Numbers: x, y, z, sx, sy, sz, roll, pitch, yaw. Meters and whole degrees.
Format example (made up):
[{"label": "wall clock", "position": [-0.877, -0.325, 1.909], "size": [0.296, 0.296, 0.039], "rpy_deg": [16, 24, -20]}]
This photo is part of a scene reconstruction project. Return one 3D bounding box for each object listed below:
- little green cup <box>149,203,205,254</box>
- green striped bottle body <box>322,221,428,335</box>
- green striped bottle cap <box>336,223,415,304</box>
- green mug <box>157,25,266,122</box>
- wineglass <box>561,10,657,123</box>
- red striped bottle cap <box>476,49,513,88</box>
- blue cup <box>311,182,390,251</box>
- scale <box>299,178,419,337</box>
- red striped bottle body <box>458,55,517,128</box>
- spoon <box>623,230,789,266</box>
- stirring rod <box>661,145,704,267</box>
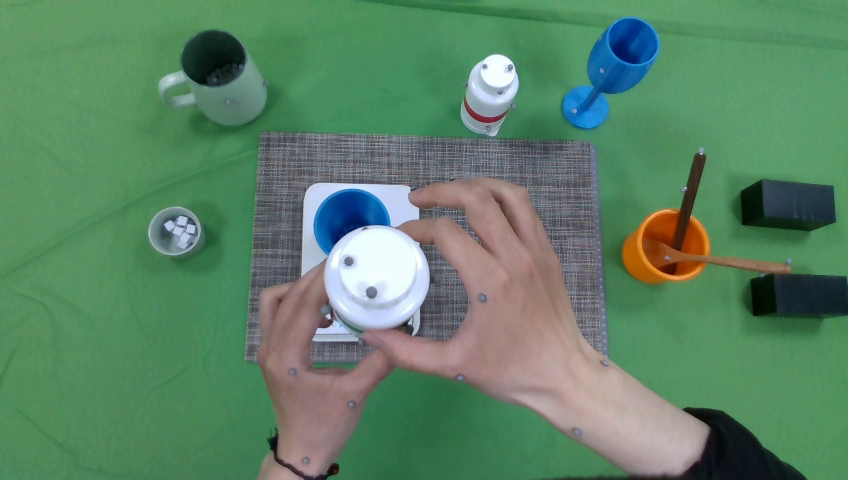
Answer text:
[{"label": "little green cup", "position": [-0.304, -0.012, 0.754], "size": [0.061, 0.039, 0.061], "rpy_deg": [1, 78, -5]}, {"label": "green striped bottle body", "position": [-0.032, 0.026, 0.390], "size": [0.063, 0.119, 0.063], "rpy_deg": [1, 77, -6]}, {"label": "green striped bottle cap", "position": [-0.027, 0.013, 0.337], "size": [0.044, 0.020, 0.044], "rpy_deg": [2, 75, -8]}, {"label": "green mug", "position": [-0.269, -0.202, 0.762], "size": [0.125, 0.105, 0.092], "rpy_deg": [-21, 81, -8]}, {"label": "wineglass", "position": [0.228, -0.213, 0.767], "size": [0.074, 0.173, 0.073], "rpy_deg": [1, 78, -3]}, {"label": "red striped bottle cap", "position": [0.085, -0.206, 0.727], "size": [0.044, 0.018, 0.044], "rpy_deg": [1, 75, -3]}, {"label": "blue cup", "position": [-0.082, -0.012, 0.704], "size": [0.093, 0.100, 0.092], "rpy_deg": [1, 80, -4]}, {"label": "scale", "position": [-0.081, 0.020, 0.764], "size": [0.149, 0.031, 0.200], "rpy_deg": [0, 79, -4]}, {"label": "red striped bottle body", "position": [0.082, -0.195, 0.779], "size": [0.063, 0.120, 0.063], "rpy_deg": [1, 78, -4]}, {"label": "spoon", "position": [0.337, 0.015, 0.741], "size": [0.022, 0.192, 0.041], "rpy_deg": [20, 82, -44]}, {"label": "stirring rod", "position": [0.318, -0.036, 0.751], "size": [0.014, 0.177, 0.006], "rpy_deg": [6, 37, 10]}]
